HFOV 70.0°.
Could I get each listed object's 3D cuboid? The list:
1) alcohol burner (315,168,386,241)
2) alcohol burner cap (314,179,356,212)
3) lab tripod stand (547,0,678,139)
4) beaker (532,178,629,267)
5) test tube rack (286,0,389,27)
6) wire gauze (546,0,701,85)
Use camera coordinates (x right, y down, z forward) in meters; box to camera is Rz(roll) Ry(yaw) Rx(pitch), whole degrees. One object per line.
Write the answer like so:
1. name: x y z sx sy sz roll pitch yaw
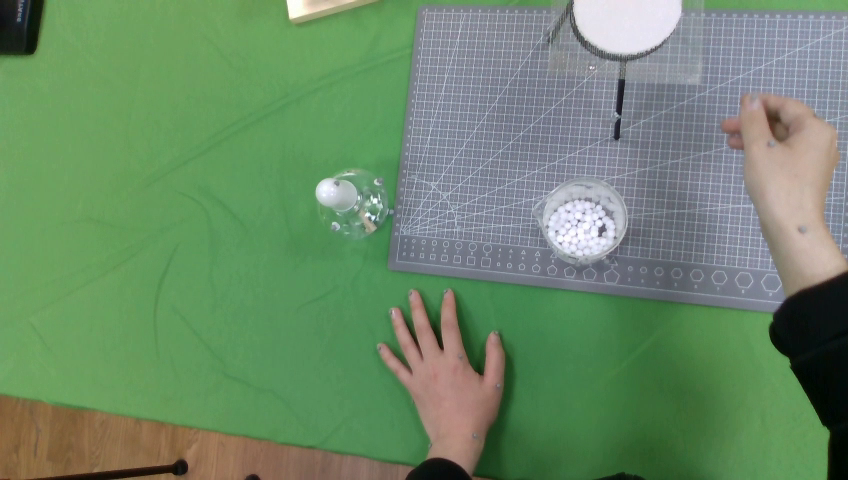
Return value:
1. alcohol burner: -0.081 -0.040 0.624 0.078 0.119 0.077 -2 82 11
2. alcohol burner cap: -0.089 -0.045 0.589 0.034 0.048 0.034 0 87 12
3. lab tripod stand: 0.181 -0.183 0.568 0.148 0.132 0.148 -1 85 11
4. beaker: 0.147 -0.013 0.576 0.083 0.101 0.074 12 86 14
5. test tube rack: -0.053 -0.312 0.659 0.242 0.085 0.066 -12 81 11
6. wire gauze: 0.167 -0.191 0.502 0.125 0.011 0.121 5 87 13
